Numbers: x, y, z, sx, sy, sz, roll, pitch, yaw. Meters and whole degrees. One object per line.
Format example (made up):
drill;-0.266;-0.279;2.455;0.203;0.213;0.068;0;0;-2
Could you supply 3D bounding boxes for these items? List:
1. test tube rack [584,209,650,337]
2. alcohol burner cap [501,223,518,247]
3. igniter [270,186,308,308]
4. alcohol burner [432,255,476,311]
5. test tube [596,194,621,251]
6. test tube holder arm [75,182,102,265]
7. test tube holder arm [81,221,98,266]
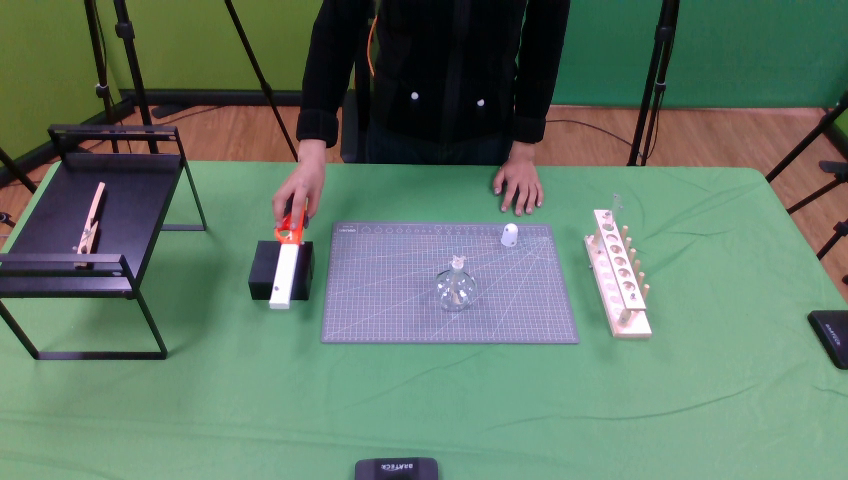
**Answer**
test tube rack;0.365;0.056;1.129;0.067;0.085;0.240;1;46;-4
alcohol burner cap;0.172;-0.013;1.206;0.034;0.048;0.033;1;45;-1
igniter;-0.241;0.003;1.078;0.057;0.025;0.274;0;50;-4
alcohol burner;0.055;0.070;1.068;0.078;0.119;0.077;3;45;-3
test tube;0.346;-0.029;1.141;0.017;0.151;0.017;0;50;0
test tube holder arm;-0.518;-0.030;0.937;0.013;0.015;0.177;25;33;-37
test tube holder arm;-0.503;0.004;0.910;0.010;0.015;0.087;26;32;-36
